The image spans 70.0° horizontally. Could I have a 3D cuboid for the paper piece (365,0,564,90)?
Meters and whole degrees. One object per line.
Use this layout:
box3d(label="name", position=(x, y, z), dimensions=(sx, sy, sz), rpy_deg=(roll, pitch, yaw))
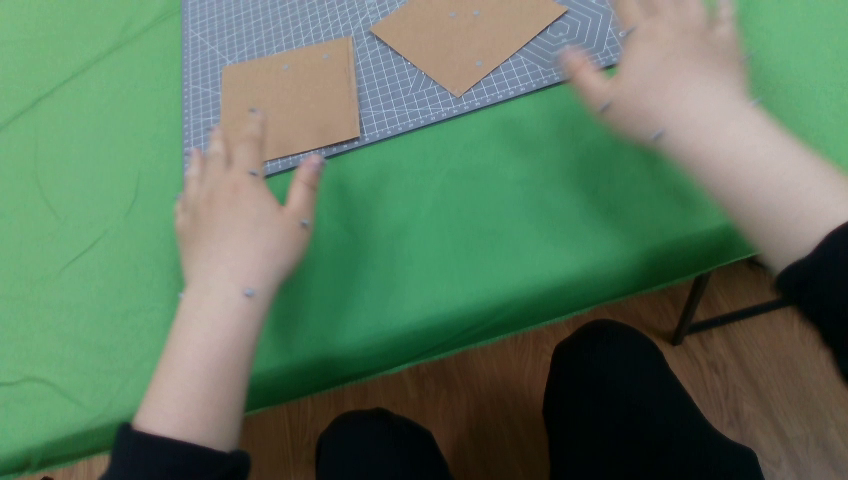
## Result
box3d(label="paper piece", position=(0.035, -0.211, 0.568), dimensions=(0.135, 0.004, 0.134), rpy_deg=(-40, 60, -11))

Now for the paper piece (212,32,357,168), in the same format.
box3d(label="paper piece", position=(-0.131, -0.135, 0.564), dimensions=(0.138, 0.009, 0.134), rpy_deg=(-12, 56, 7))
